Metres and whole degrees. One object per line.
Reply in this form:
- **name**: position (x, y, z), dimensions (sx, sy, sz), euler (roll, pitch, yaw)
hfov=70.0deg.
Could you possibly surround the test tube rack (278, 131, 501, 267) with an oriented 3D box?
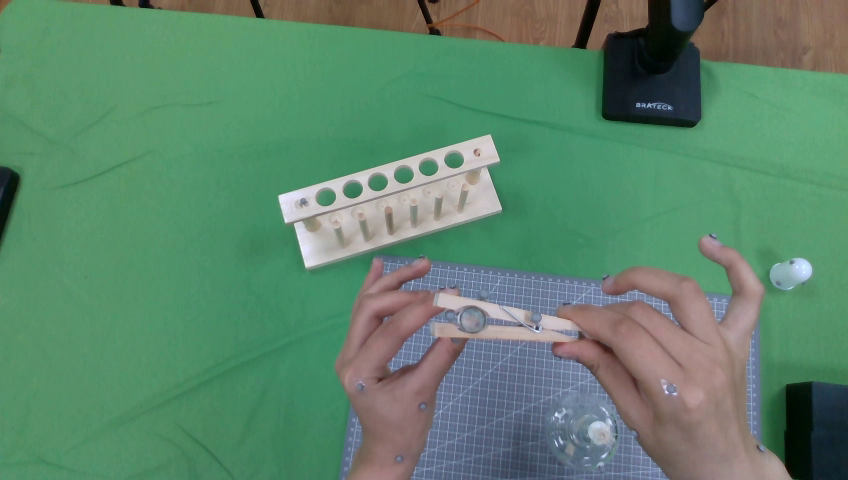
- **test tube rack**: position (-0.032, -0.044, 0.691), dimensions (0.242, 0.085, 0.066), euler (-17, 74, -5)

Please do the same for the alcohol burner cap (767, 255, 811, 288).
- **alcohol burner cap**: position (0.420, 0.035, 0.693), dimensions (0.034, 0.048, 0.033), euler (0, 73, 1)

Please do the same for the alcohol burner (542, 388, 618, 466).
- **alcohol burner**: position (0.161, 0.188, 0.610), dimensions (0.078, 0.119, 0.077), euler (0, 75, -1)

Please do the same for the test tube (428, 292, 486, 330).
- **test tube**: position (0.019, 0.046, 0.408), dimensions (0.017, 0.150, 0.017), euler (0, 88, -7)

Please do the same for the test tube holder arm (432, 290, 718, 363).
- **test tube holder arm**: position (0.091, 0.052, 0.354), dimensions (0.179, 0.015, 0.013), euler (12, 87, -11)

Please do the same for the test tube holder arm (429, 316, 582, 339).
- **test tube holder arm**: position (0.047, 0.050, 0.346), dimensions (0.088, 0.015, 0.010), euler (3, 88, -11)
